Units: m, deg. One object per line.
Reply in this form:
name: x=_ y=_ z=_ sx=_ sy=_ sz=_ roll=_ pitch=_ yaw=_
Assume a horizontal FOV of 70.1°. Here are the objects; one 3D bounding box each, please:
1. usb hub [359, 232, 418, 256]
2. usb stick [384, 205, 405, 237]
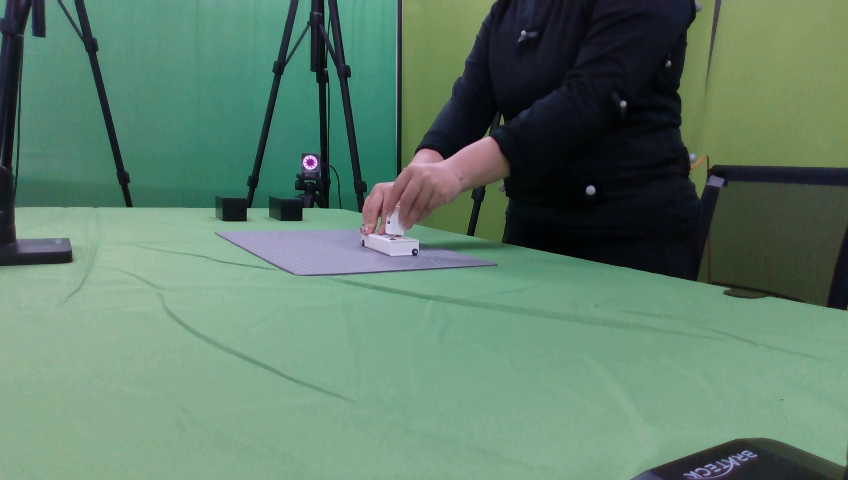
usb hub: x=-0.058 y=0.005 z=0.951 sx=0.050 sy=0.025 sz=0.124 roll=-2 pitch=8 yaw=-27
usb stick: x=-0.046 y=-0.024 z=0.935 sx=0.027 sy=0.059 sz=0.021 roll=-2 pitch=11 yaw=-32
